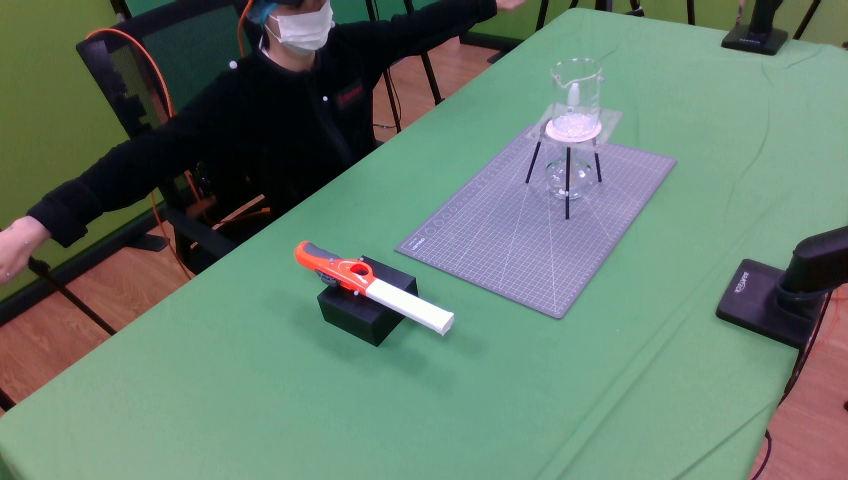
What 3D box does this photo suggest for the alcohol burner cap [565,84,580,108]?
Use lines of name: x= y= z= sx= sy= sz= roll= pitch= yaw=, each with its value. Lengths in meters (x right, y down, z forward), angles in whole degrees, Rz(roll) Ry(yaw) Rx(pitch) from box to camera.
alcohol burner cap: x=0.315 y=-0.307 z=1.278 sx=0.034 sy=0.048 sz=0.033 roll=-4 pitch=42 yaw=5

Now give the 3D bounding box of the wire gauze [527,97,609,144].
wire gauze: x=0.225 y=-0.187 z=0.945 sx=0.121 sy=0.011 sz=0.124 roll=4 pitch=45 yaw=12

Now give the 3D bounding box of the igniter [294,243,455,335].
igniter: x=-0.079 y=0.062 z=0.837 sx=0.274 sy=0.025 sz=0.057 roll=22 pitch=49 yaw=27

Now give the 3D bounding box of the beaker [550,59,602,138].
beaker: x=0.230 y=-0.212 z=0.922 sx=0.073 sy=0.101 sz=0.084 roll=16 pitch=46 yaw=31

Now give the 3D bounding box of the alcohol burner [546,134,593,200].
alcohol burner: x=0.243 y=-0.126 z=1.011 sx=0.078 sy=0.119 sz=0.077 roll=-5 pitch=42 yaw=5

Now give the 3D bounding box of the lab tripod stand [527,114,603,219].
lab tripod stand: x=0.234 y=-0.129 z=1.002 sx=0.148 sy=0.132 sz=0.147 roll=-6 pitch=40 yaw=6
